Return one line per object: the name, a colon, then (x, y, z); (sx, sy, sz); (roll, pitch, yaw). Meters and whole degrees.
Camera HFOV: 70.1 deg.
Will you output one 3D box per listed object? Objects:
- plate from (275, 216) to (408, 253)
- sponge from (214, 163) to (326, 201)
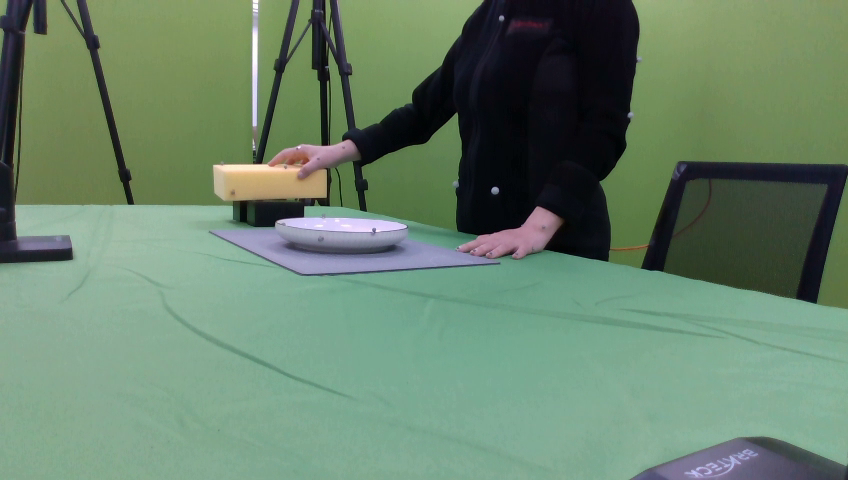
plate: (-0.129, -0.009, 0.954); (0.209, 0.038, 0.209); (2, 7, 0)
sponge: (-0.320, -0.122, 1.259); (0.208, 0.061, 0.117); (-5, 14, -29)
